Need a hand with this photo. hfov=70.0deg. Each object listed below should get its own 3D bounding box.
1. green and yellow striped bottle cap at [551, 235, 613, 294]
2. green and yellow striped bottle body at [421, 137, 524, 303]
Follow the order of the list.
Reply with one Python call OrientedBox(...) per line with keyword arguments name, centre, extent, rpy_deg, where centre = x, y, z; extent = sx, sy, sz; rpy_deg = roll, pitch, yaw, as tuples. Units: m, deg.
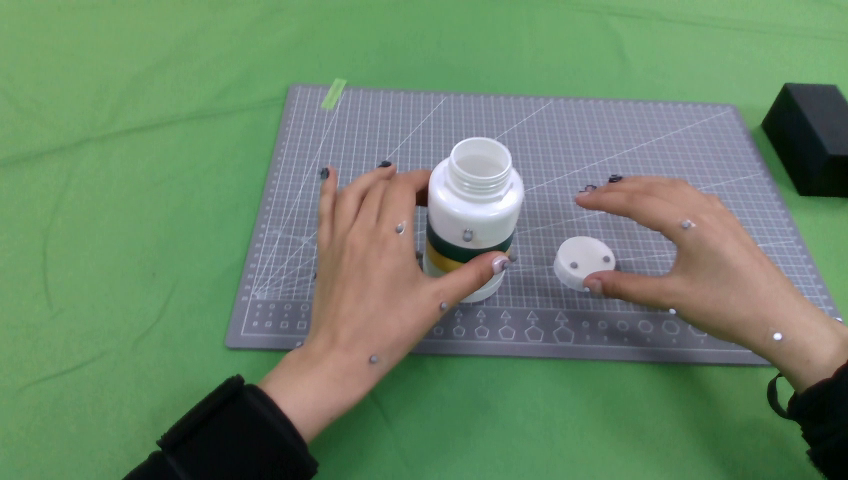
OrientedBox(name="green and yellow striped bottle cap", centre=(0.122, 0.018, 0.466), extent=(0.045, 0.020, 0.045), rpy_deg=(3, 52, -3))
OrientedBox(name="green and yellow striped bottle body", centre=(0.032, -0.014, 0.417), extent=(0.063, 0.120, 0.062), rpy_deg=(2, 51, -2))
